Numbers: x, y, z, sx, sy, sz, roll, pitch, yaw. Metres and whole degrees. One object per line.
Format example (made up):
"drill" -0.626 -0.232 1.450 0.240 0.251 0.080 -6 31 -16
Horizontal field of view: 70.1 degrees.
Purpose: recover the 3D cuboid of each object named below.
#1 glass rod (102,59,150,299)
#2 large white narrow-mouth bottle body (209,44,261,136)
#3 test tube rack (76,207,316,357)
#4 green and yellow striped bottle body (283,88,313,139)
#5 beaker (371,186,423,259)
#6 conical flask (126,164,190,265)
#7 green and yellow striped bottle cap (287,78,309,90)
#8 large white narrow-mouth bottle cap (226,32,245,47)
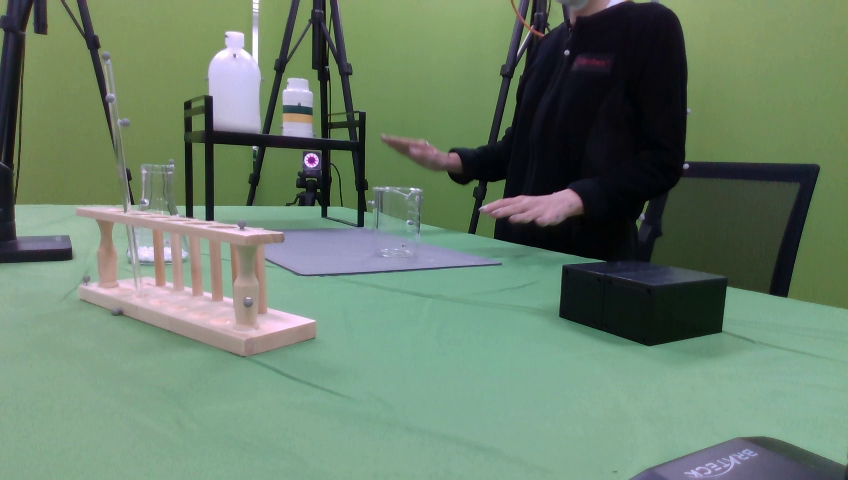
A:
"glass rod" -0.243 -0.045 0.496 0.008 0.199 0.008 -4 12 1
"large white narrow-mouth bottle body" -0.373 -0.306 1.197 0.102 0.194 0.102 3 8 0
"test tube rack" -0.196 0.023 0.500 0.241 0.085 0.067 8 9 36
"green and yellow striped bottle body" -0.266 -0.275 1.275 0.063 0.119 0.063 3 7 0
"beaker" -0.038 -0.025 0.868 0.074 0.100 0.083 -1 8 -22
"conical flask" -0.332 -0.033 0.756 0.075 0.122 0.075 2 7 0
"green and yellow striped bottle cap" -0.265 -0.326 1.268 0.045 0.020 0.045 4 6 0
"large white narrow-mouth bottle cap" -0.368 -0.391 1.184 0.038 0.024 0.037 4 8 0
